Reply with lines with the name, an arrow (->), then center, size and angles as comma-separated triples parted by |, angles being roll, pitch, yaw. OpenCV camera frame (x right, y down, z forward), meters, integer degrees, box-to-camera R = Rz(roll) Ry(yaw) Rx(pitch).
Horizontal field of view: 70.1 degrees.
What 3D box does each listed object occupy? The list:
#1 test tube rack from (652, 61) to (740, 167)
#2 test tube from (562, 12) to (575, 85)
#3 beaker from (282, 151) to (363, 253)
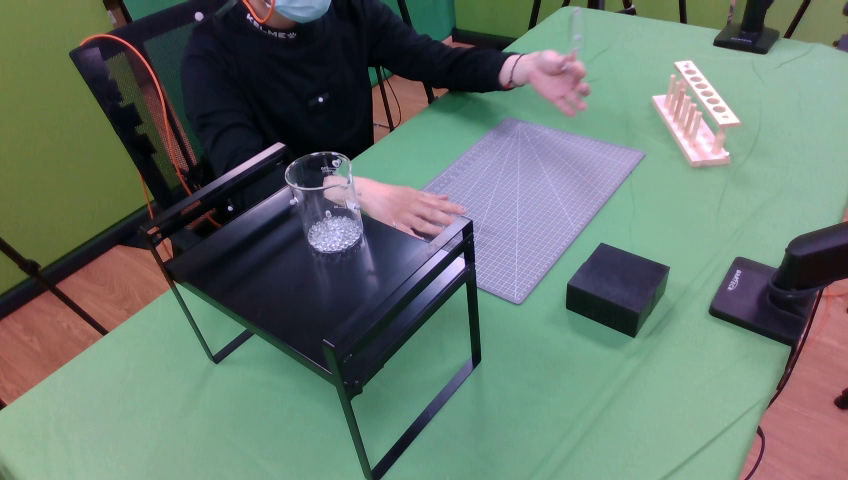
test tube rack -> 0.499, -0.242, 1.130 | 0.067, 0.085, 0.241 | -5, 41, 3
test tube -> 0.238, -0.312, 1.000 | 0.017, 0.151, 0.017 | -4, 59, 8
beaker -> -0.110, -0.041, 0.698 | 0.083, 0.101, 0.074 | 18, 47, 26
